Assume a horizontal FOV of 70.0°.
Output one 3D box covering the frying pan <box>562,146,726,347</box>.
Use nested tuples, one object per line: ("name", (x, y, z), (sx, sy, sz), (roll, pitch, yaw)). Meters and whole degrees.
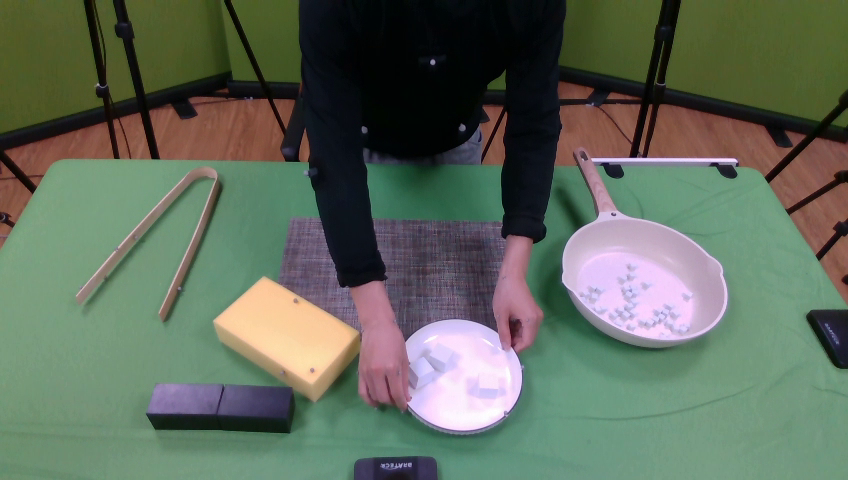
("frying pan", (0.378, -0.006, 1.175), (0.307, 0.103, 0.484), (-4, 55, -10))

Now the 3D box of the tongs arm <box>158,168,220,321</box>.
("tongs arm", (-0.446, -0.006, 1.163), (0.028, 0.028, 0.385), (1, 46, 1))

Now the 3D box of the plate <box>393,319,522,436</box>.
("plate", (0.053, 0.222, 0.979), (0.208, 0.039, 0.206), (2, 46, -2))

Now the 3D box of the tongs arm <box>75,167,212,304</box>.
("tongs arm", (-0.525, -0.021, 1.167), (0.051, 0.026, 0.383), (13, 46, 7))

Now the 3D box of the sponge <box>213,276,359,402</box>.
("sponge", (-0.225, 0.158, 0.998), (0.206, 0.061, 0.118), (27, 52, 18))
